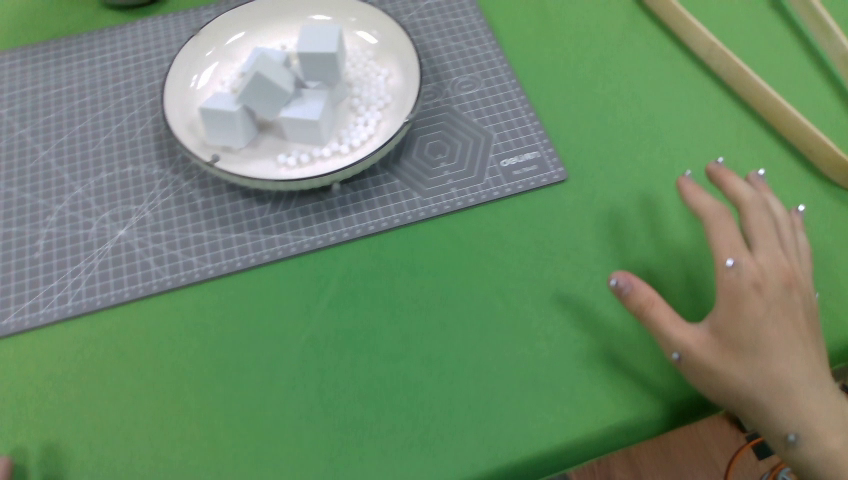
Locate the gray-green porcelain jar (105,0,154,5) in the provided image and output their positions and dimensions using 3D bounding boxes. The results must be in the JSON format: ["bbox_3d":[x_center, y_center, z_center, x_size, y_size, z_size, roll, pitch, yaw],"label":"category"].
[{"bbox_3d":[-0.286,-0.293,0.555,0.106,0.127,0.105,-1,60,2],"label":"gray-green porcelain jar"}]

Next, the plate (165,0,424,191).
[{"bbox_3d":[-0.103,-0.123,0.501,0.209,0.038,0.207,-1,61,2],"label":"plate"}]

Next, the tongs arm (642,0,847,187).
[{"bbox_3d":[0.245,-0.184,0.532,0.028,0.028,0.384,-24,62,-14],"label":"tongs arm"}]

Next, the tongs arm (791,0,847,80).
[{"bbox_3d":[0.323,-0.210,0.539,0.051,0.027,0.381,-13,62,-4],"label":"tongs arm"}]
